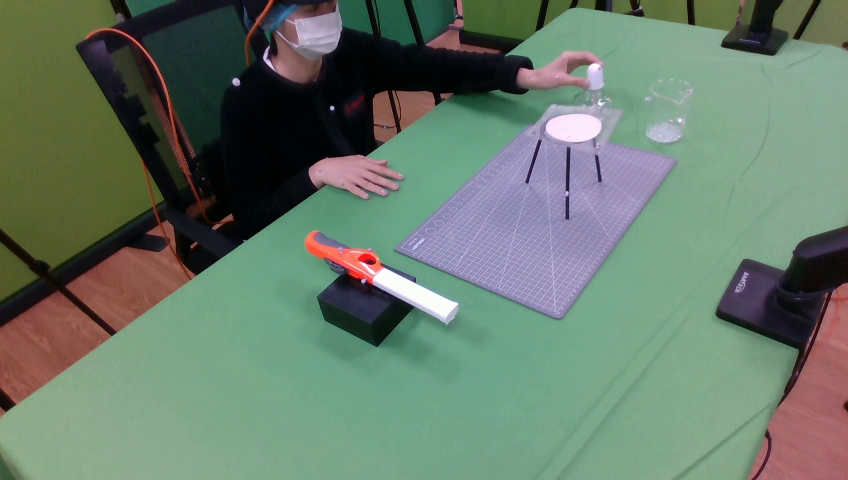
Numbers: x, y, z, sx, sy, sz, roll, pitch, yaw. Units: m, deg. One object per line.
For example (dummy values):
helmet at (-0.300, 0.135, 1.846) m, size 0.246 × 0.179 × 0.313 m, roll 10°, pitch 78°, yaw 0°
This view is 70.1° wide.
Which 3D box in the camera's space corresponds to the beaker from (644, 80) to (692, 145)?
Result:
beaker at (0.451, -0.233, 1.122) m, size 0.074 × 0.101 × 0.083 m, roll -8°, pitch 40°, yaw 1°

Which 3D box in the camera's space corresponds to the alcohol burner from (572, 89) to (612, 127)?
alcohol burner at (0.333, -0.285, 1.192) m, size 0.078 × 0.119 × 0.077 m, roll -4°, pitch 43°, yaw 4°

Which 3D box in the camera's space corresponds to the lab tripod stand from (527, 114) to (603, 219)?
lab tripod stand at (0.234, -0.129, 1.002) m, size 0.148 × 0.132 × 0.147 m, roll -6°, pitch 40°, yaw 6°

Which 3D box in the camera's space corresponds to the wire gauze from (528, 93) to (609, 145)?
wire gauze at (0.225, -0.188, 0.943) m, size 0.121 × 0.011 × 0.124 m, roll 6°, pitch 48°, yaw 9°

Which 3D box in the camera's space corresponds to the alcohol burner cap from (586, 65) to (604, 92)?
alcohol burner cap at (0.329, -0.315, 1.167) m, size 0.034 × 0.048 × 0.033 m, roll -10°, pitch 40°, yaw 9°

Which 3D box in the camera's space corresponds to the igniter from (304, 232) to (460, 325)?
igniter at (-0.070, 0.048, 0.853) m, size 0.274 × 0.025 × 0.057 m, roll 24°, pitch 47°, yaw 29°
